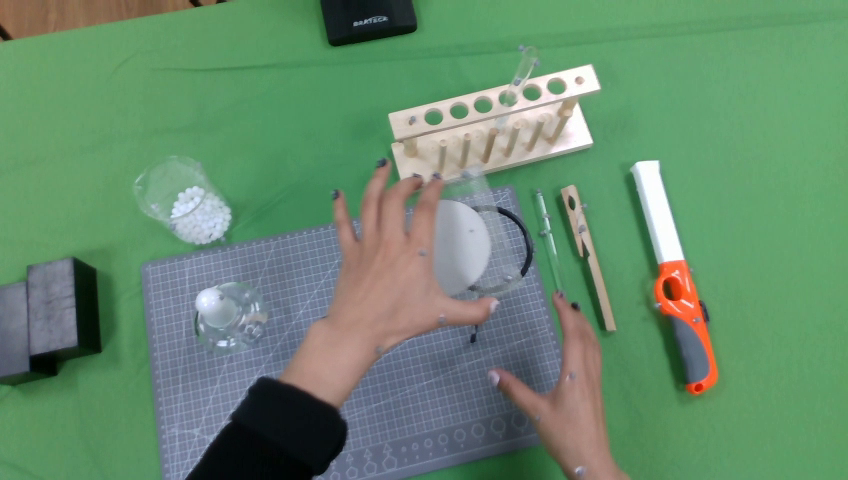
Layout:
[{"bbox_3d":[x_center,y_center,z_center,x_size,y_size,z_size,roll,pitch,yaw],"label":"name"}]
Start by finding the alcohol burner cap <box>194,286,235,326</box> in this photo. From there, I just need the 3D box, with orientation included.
[{"bbox_3d":[-0.210,0.063,0.601,0.034,0.048,0.033,1,62,-1],"label":"alcohol burner cap"}]

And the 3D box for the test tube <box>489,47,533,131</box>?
[{"bbox_3d":[0.096,-0.165,0.681,0.017,0.151,0.017,2,70,-6],"label":"test tube"}]

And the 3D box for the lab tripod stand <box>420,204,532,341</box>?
[{"bbox_3d":[0.055,0.025,0.645,0.148,0.132,0.147,0,73,1],"label":"lab tripod stand"}]

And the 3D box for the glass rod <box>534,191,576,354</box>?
[{"bbox_3d":[0.154,0.036,0.713,0.008,0.008,0.198,-9,76,-4],"label":"glass rod"}]

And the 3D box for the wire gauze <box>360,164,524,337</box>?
[{"bbox_3d":[0.013,0.008,0.537,0.121,0.011,0.124,-22,75,12],"label":"wire gauze"}]

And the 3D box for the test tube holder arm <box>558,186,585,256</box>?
[{"bbox_3d":[0.180,-0.023,0.726,0.010,0.015,0.087,-26,70,33],"label":"test tube holder arm"}]

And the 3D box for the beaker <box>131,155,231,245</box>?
[{"bbox_3d":[-0.268,-0.040,0.681,0.084,0.101,0.073,5,72,2],"label":"beaker"}]

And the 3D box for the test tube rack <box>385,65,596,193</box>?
[{"bbox_3d":[0.081,-0.130,0.722,0.242,0.085,0.066,-15,73,-5],"label":"test tube rack"}]

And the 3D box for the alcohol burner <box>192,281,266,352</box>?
[{"bbox_3d":[-0.210,0.076,0.635,0.078,0.120,0.077,0,71,1],"label":"alcohol burner"}]

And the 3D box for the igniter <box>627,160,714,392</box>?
[{"bbox_3d":[0.285,0.035,0.704,0.057,0.025,0.274,-5,73,-13],"label":"igniter"}]

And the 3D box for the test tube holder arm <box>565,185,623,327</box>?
[{"bbox_3d":[0.197,0.016,0.710,0.013,0.015,0.177,-28,69,32],"label":"test tube holder arm"}]
